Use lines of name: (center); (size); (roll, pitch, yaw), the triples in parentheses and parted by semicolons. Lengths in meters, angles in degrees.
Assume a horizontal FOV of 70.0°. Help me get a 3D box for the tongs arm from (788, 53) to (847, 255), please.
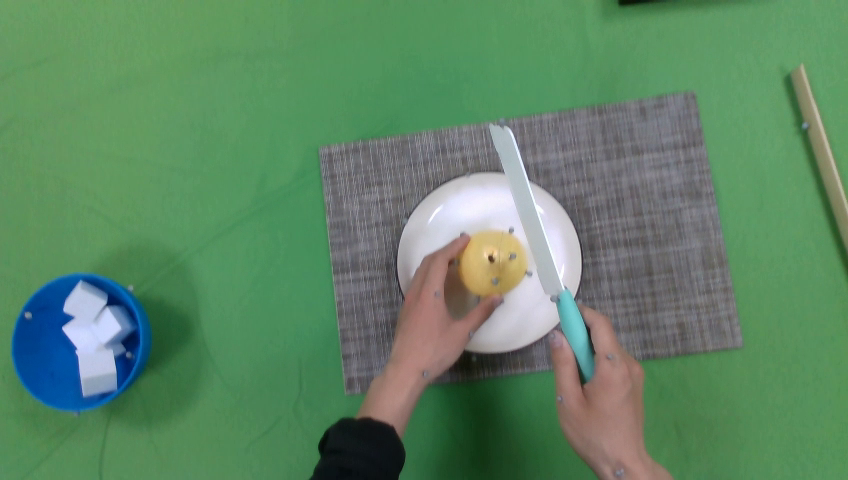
tongs arm: (0.474, -0.026, 0.670); (0.028, 0.028, 0.386); (-15, 83, 1)

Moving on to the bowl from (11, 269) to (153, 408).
bowl: (-0.370, 0.110, 0.690); (0.151, 0.077, 0.151); (0, 84, 5)

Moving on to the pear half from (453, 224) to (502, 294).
pear half: (0.058, 0.018, 0.641); (0.056, 0.110, 0.076); (-3, 78, 4)

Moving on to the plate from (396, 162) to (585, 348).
plate: (0.074, 0.017, 0.685); (0.207, 0.039, 0.207); (0, 84, 4)

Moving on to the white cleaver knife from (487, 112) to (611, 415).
white cleaver knife: (0.111, 0.024, 0.533); (0.021, 0.065, 0.287); (-20, 100, -4)

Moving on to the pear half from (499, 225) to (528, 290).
pear half: (0.095, 0.018, 0.647); (0.031, 0.088, 0.070); (-4, 80, 7)
